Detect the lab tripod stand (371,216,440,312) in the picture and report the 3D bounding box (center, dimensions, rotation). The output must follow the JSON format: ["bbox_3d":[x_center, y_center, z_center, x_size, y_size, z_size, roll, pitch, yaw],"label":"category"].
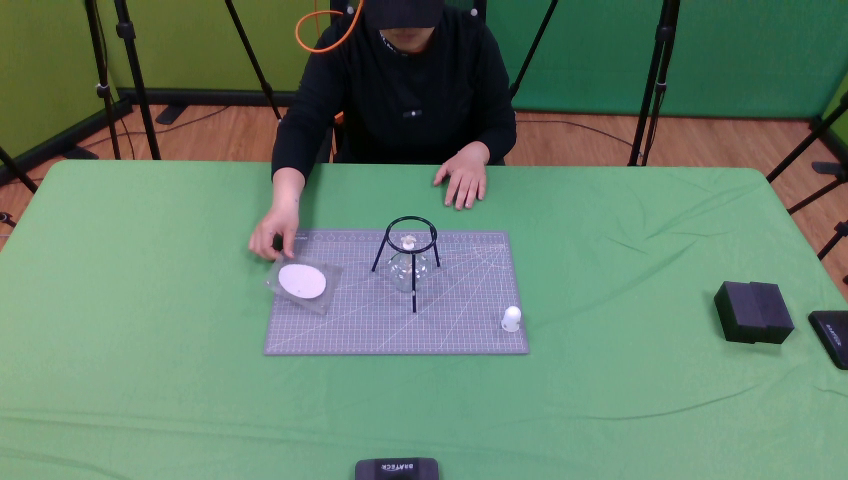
[{"bbox_3d":[-0.029,0.033,1.084,0.148,0.132,0.147,1,47,-1],"label":"lab tripod stand"}]

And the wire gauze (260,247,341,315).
[{"bbox_3d":[-0.222,0.070,1.104,0.125,0.011,0.121,22,38,-6],"label":"wire gauze"}]

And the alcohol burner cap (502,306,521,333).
[{"bbox_3d":[0.155,0.137,1.061,0.034,0.048,0.033,1,45,-1],"label":"alcohol burner cap"}]

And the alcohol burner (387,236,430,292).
[{"bbox_3d":[-0.028,0.038,1.093,0.078,0.120,0.077,1,46,-1],"label":"alcohol burner"}]
